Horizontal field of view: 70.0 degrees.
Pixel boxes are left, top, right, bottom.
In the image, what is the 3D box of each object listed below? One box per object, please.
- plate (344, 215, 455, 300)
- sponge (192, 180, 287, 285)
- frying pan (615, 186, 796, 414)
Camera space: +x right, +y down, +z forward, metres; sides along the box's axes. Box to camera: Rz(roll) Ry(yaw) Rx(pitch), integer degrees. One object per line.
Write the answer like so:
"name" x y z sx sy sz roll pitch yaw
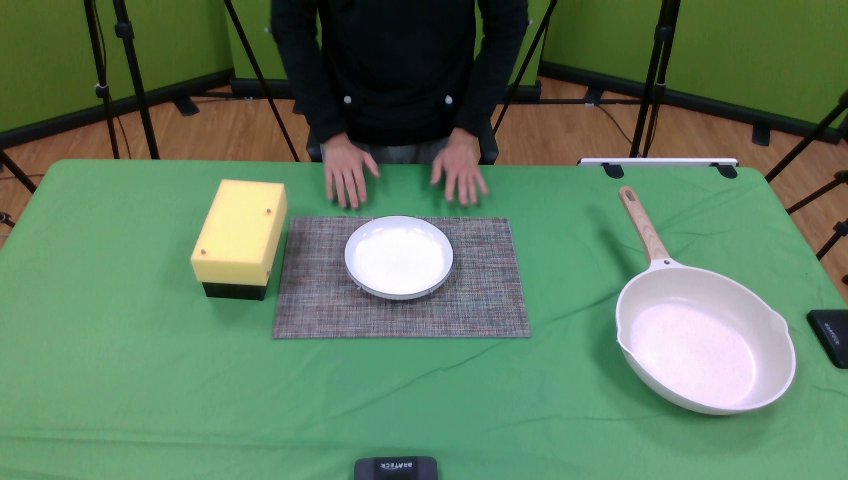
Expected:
"plate" -0.045 0.036 1.146 0.208 0.039 0.206 2 46 -2
"sponge" -0.327 -0.018 1.096 0.118 0.061 0.205 3 46 -1
"frying pan" 0.449 0.087 1.092 0.307 0.103 0.484 -4 55 -10
